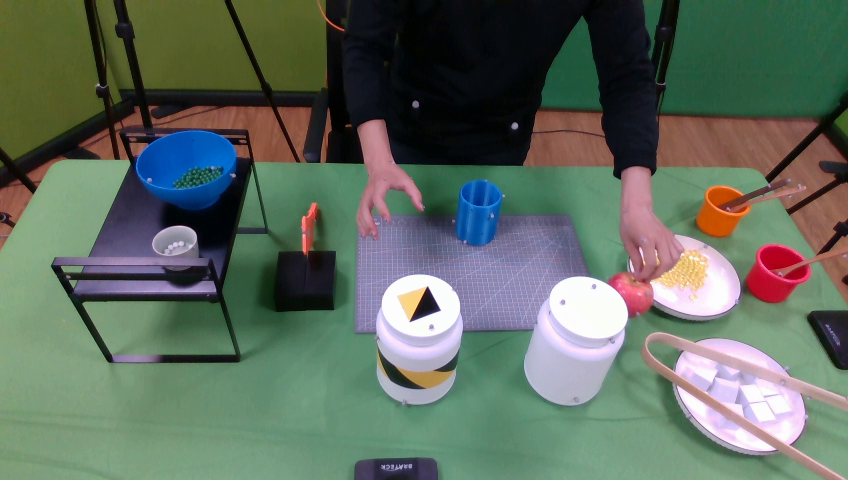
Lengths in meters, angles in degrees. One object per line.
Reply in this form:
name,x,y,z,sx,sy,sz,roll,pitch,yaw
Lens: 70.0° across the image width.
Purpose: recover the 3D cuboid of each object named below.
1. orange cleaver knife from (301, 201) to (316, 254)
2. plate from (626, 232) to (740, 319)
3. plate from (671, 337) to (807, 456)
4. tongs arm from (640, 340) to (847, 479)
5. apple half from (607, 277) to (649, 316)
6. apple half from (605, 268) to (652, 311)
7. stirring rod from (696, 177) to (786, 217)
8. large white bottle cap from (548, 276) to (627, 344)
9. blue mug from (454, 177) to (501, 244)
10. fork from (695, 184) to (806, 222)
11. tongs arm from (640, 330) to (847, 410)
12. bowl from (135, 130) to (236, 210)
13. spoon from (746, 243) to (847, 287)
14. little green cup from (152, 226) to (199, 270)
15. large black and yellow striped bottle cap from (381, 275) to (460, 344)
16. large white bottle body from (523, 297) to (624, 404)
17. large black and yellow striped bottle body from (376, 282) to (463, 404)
orange cleaver knife,-0.221,-0.027,1.161,0.012,0.077,0.210,-1,15,-4
plate,0.489,0.071,1.157,0.209,0.038,0.208,3,46,-2
plate,0.504,0.254,0.984,0.208,0.039,0.206,2,46,-2
tongs arm,0.500,0.277,0.919,0.386,0.028,0.028,34,59,22
apple half,0.342,0.105,1.035,0.081,0.081,0.032,14,35,9
apple half,0.356,0.084,1.066,0.080,0.075,0.053,13,34,12
stirring rod,0.648,-0.087,1.244,0.176,0.006,0.014,-25,50,29
large white bottle cap,0.240,0.100,0.890,0.115,0.018,0.114,3,47,-3
blue mug,0.106,-0.067,1.208,0.082,0.106,0.116,6,46,1
fork,0.658,-0.074,1.229,0.207,0.019,0.028,-24,34,36
tongs arm,0.543,0.225,0.969,0.384,0.026,0.050,22,52,13
bowl,-0.375,-0.102,0.978,0.151,0.077,0.150,2,46,-2
spoon,0.702,0.044,1.126,0.194,0.022,0.041,-29,38,30
little green cup,-0.364,0.013,0.894,0.061,0.039,0.061,3,46,-3
large black and yellow striped bottle cap,-0.005,0.098,0.874,0.115,0.019,0.114,2,45,-1
large white bottle body,0.235,0.159,0.952,0.131,0.185,0.130,2,47,-2
large black and yellow striped bottle body,-0.010,0.155,0.937,0.131,0.185,0.130,2,47,-2
